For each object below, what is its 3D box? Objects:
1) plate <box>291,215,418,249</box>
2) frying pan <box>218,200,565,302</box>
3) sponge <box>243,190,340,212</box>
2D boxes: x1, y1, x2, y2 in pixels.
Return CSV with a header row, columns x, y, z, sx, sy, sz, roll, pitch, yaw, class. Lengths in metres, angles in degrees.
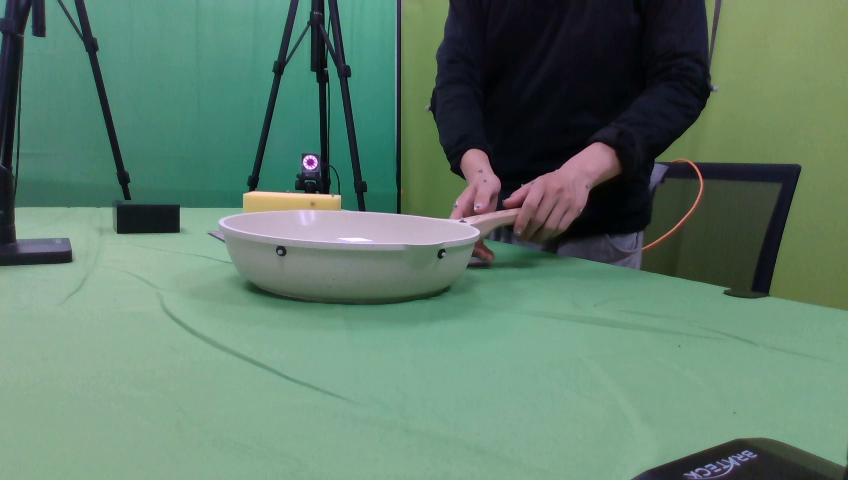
x,y,z,sx,sy,sz,roll,pitch,yaw,class
-0.115,-0.013,1.002,0.208,0.039,0.207,2,7,0,plate
0.003,-0.010,0.754,0.490,0.102,0.305,-12,16,-32,frying pan
-0.299,-0.077,1.388,0.207,0.061,0.118,2,8,-7,sponge
